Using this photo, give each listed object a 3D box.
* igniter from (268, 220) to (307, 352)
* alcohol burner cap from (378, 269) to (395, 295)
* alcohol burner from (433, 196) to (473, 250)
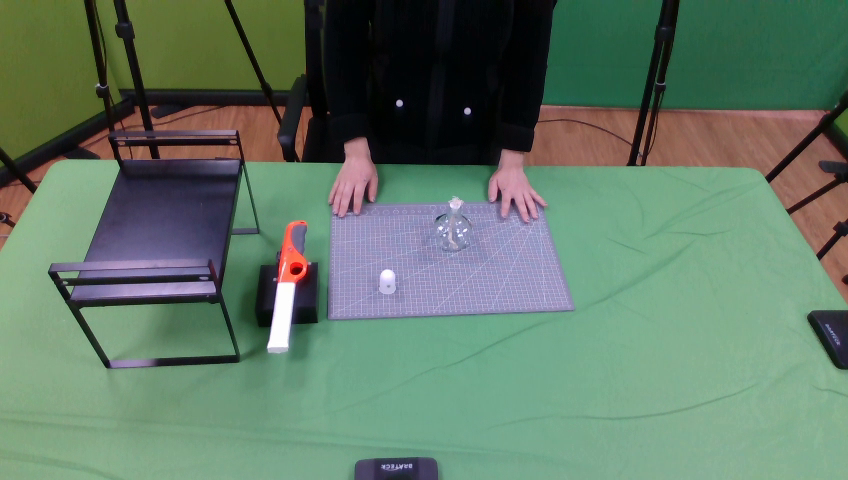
[{"bbox_3d":[-0.235,0.068,1.045,0.057,0.025,0.274,1,49,-4],"label":"igniter"},{"bbox_3d":[-0.068,0.073,1.103,0.034,0.048,0.033,3,46,-3],"label":"alcohol burner cap"},{"bbox_3d":[0.058,-0.038,1.169,0.078,0.119,0.077,3,45,-3],"label":"alcohol burner"}]
